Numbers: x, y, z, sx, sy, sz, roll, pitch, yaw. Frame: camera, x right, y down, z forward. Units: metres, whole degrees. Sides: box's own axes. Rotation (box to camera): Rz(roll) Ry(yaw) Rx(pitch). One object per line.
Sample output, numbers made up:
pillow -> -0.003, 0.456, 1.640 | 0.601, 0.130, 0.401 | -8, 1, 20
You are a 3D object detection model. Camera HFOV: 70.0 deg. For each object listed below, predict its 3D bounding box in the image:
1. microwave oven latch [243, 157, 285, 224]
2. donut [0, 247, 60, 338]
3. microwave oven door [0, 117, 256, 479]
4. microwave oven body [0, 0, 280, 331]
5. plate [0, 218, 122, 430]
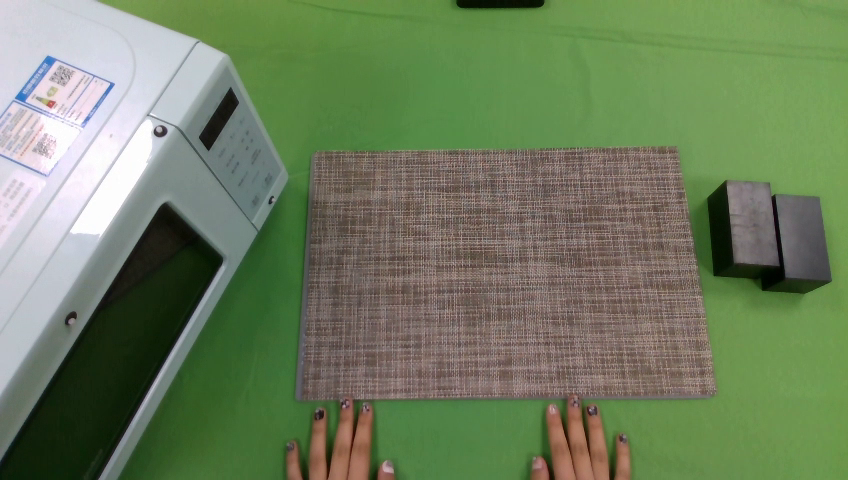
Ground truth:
microwave oven latch -> -0.189, -0.060, 0.698 | 0.030, 0.029, 0.079 | 23, 74, 7
donut -> -0.418, 0.052, 0.605 | 0.099, 0.048, 0.098 | 2, 56, -3
microwave oven door -> -0.280, 0.094, 0.537 | 0.039, 0.245, 0.354 | 23, 73, 8
microwave oven body -> -0.397, 0.003, 0.573 | 0.325, 0.261, 0.440 | 23, 73, 7
plate -> -0.388, 0.080, 0.590 | 0.209, 0.038, 0.207 | -3, 69, 8
